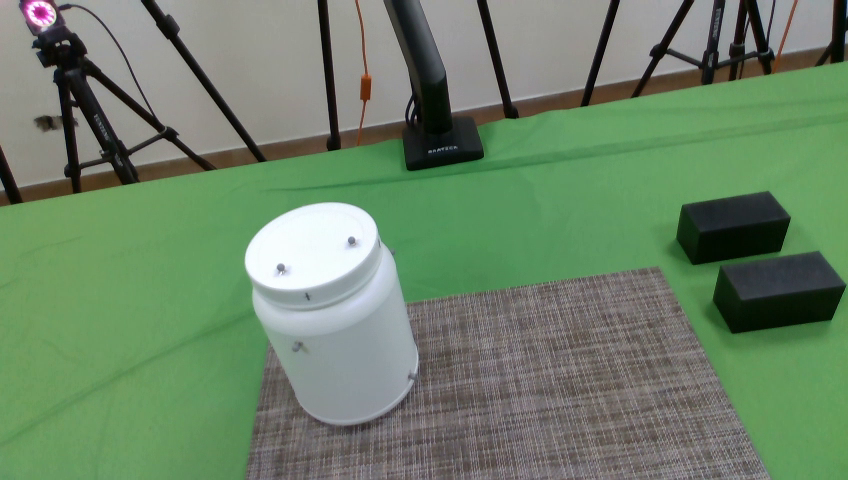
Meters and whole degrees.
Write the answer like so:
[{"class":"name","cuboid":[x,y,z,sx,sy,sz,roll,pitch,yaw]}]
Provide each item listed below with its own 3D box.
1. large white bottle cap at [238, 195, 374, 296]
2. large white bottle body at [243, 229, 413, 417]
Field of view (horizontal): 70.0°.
[{"class":"large white bottle cap","cuboid":[-0.100,0.002,0.516,0.115,0.018,0.113,-6,41,6]},{"class":"large white bottle body","cuboid":[-0.087,0.064,0.572,0.130,0.186,0.129,-6,41,6]}]
